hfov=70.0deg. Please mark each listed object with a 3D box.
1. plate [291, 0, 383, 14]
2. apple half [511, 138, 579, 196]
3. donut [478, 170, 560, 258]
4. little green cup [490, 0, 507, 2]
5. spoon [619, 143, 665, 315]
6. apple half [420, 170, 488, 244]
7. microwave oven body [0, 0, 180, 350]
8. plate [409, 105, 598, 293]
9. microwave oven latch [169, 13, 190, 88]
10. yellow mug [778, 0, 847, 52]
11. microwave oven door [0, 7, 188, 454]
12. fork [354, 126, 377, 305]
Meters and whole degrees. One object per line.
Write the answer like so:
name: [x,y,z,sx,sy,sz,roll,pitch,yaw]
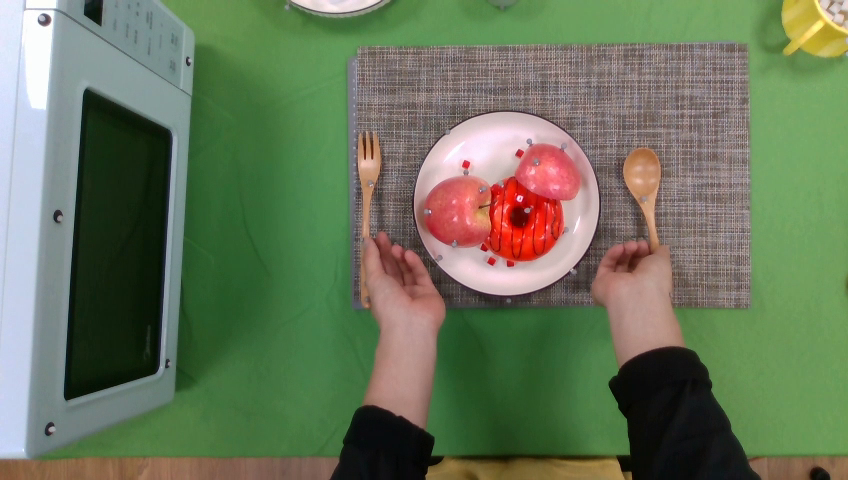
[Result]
plate: [-0.098,-0.363,0.708,0.207,0.039,0.207,0,88,4]
apple half: [0.137,-0.085,0.654,0.081,0.033,0.080,9,50,-11]
donut: [0.100,-0.029,0.668,0.099,0.048,0.099,0,89,3]
little green cup: [0.087,-0.306,0.694,0.061,0.039,0.061,0,87,4]
spoon: [0.249,-0.012,0.677,0.041,0.021,0.193,-7,86,-3]
apple half: [0.028,-0.037,0.654,0.074,0.054,0.080,1,86,44]
microwave oven body: [-0.450,-0.051,0.603,0.326,0.260,0.441,2,89,3]
plate: [0.087,-0.045,0.681,0.209,0.038,0.209,0,88,4]
microwave oven latch: [-0.287,-0.217,0.696,0.030,0.029,0.079,3,89,3]
yellow mug: [0.440,-0.253,0.657,0.131,0.064,0.100,-43,86,2]
microwave oven door: [-0.306,-0.003,0.588,0.039,0.244,0.355,2,88,4]
fork: [-0.068,-0.030,0.690,0.028,0.019,0.206,-2,78,8]
